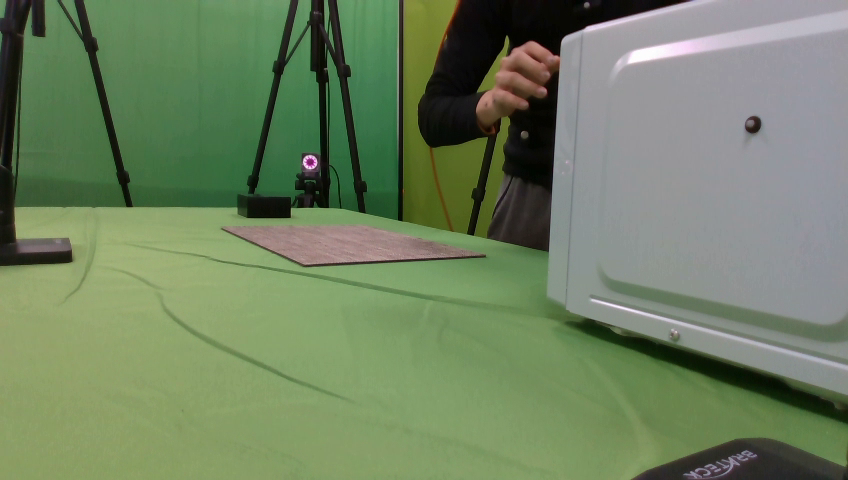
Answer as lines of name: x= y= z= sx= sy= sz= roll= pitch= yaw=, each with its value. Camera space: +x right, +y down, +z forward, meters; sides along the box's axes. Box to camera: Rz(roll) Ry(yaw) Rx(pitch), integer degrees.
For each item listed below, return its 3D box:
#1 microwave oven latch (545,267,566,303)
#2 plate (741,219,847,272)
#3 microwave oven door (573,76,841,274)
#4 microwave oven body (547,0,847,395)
microwave oven latch: x=0.148 y=0.039 z=0.555 sx=0.079 sy=0.029 sz=0.030 roll=-1 pitch=7 yaw=-28
plate: x=0.405 y=0.005 z=0.555 sx=0.209 sy=0.038 sz=0.209 roll=2 pitch=5 yaw=0
microwave oven door: x=0.377 y=-0.094 z=0.866 sx=0.039 sy=0.243 sz=0.354 roll=-4 pitch=9 yaw=-41
microwave oven body: x=0.378 y=-0.046 z=0.510 sx=0.444 sy=0.260 sz=0.324 roll=-2 pitch=7 yaw=-31
